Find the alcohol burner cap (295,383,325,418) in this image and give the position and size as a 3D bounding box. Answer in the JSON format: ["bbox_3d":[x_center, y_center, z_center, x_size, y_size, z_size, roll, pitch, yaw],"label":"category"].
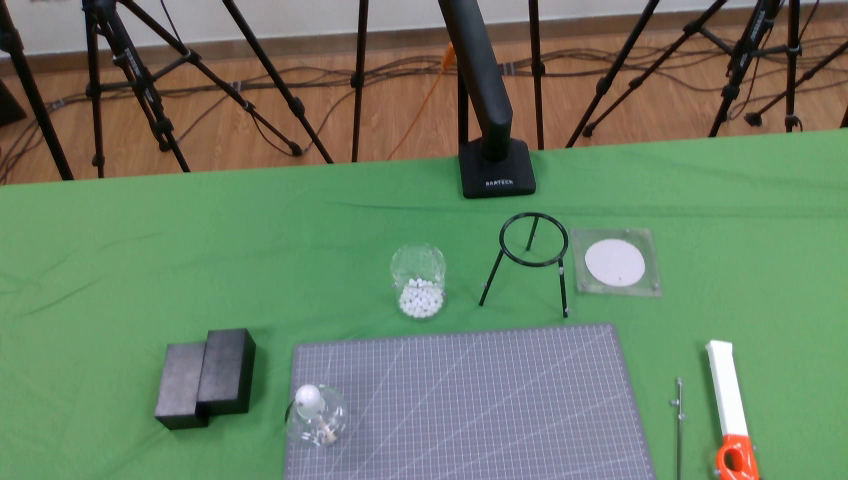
[{"bbox_3d":[-0.134,0.184,0.704,0.034,0.048,0.033,1,57,-1],"label":"alcohol burner cap"}]

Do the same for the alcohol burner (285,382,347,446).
[{"bbox_3d":[-0.134,0.204,0.734,0.078,0.120,0.077,-2,53,2],"label":"alcohol burner"}]

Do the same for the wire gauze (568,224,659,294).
[{"bbox_3d":[0.284,0.026,0.913,0.125,0.011,0.120,1,54,5],"label":"wire gauze"}]

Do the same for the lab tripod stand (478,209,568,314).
[{"bbox_3d":[0.143,0.028,0.839,0.148,0.133,0.147,-2,54,3],"label":"lab tripod stand"}]

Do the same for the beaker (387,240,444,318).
[{"bbox_3d":[-0.007,0.059,0.844,0.083,0.101,0.074,36,64,23],"label":"beaker"}]

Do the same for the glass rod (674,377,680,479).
[{"bbox_3d":[0.312,0.262,0.747,0.008,0.008,0.198,10,56,9],"label":"glass rod"}]

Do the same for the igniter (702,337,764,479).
[{"bbox_3d":[0.380,0.247,0.742,0.057,0.025,0.274,9,56,-4],"label":"igniter"}]
